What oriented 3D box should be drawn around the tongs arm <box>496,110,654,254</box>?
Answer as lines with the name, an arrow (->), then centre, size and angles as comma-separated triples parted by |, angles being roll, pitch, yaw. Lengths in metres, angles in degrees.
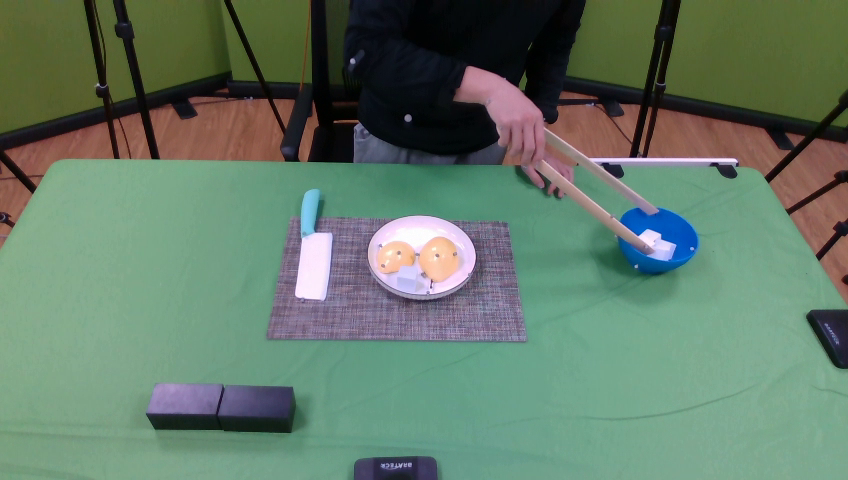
tongs arm -> 0.278, -0.097, 1.090 | 0.386, 0.026, 0.050 | 34, 59, -18

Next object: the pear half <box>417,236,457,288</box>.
pear half -> 0.022, 0.039, 1.127 | 0.076, 0.056, 0.109 | 5, 50, 7

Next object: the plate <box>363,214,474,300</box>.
plate -> -0.010, 0.036, 1.146 | 0.208, 0.039, 0.206 | 3, 46, -2

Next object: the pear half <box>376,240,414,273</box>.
pear half -> -0.058, 0.026, 1.146 | 0.070, 0.031, 0.088 | 22, 42, 22

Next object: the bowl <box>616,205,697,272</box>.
bowl -> 0.442, 0.010, 1.182 | 0.151, 0.077, 0.150 | 2, 46, -2

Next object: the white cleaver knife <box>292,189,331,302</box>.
white cleaver knife -> -0.215, 0.006, 1.178 | 0.066, 0.021, 0.284 | 5, 49, -12

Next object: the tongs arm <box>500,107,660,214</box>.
tongs arm -> 0.296, -0.141, 1.118 | 0.389, 0.028, 0.028 | 29, 64, -21
